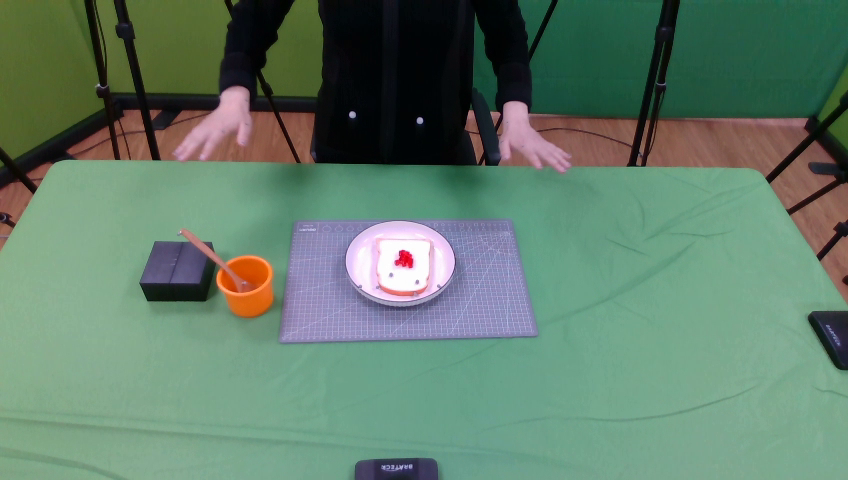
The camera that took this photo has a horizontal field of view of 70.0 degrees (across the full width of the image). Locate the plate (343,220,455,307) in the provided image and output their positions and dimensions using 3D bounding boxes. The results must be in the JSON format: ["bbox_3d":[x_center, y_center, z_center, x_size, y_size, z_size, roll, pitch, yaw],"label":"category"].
[{"bbox_3d":[-0.047,0.046,1.135,0.209,0.038,0.208,2,46,-2],"label":"plate"}]

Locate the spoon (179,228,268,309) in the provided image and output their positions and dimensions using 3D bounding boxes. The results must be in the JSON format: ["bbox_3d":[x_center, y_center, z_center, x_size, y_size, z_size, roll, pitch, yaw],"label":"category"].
[{"bbox_3d":[-0.342,0.048,1.037,0.021,0.194,0.041,-19,28,44],"label":"spoon"}]

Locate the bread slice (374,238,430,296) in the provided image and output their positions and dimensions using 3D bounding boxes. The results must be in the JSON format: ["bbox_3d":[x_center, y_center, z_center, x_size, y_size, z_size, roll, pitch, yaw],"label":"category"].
[{"bbox_3d":[-0.039,0.048,1.135,0.107,0.018,0.133,-1,47,-4],"label":"bread slice"}]
